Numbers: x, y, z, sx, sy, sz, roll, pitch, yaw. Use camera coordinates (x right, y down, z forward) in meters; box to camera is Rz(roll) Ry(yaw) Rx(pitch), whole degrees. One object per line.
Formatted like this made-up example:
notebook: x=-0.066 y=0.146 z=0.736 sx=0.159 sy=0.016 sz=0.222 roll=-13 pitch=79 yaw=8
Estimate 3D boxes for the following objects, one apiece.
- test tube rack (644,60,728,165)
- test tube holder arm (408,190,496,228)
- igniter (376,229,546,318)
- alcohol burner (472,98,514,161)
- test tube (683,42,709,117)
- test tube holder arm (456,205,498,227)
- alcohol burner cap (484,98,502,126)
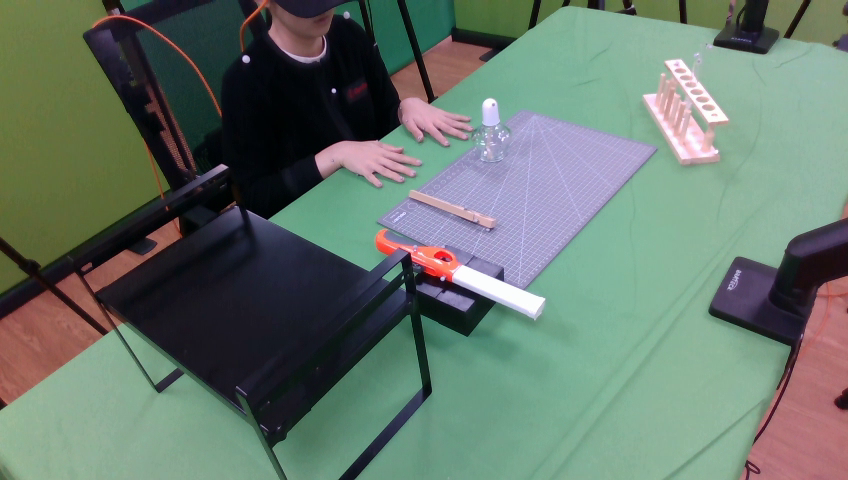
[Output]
test tube rack: x=0.486 y=-0.246 z=1.139 sx=0.067 sy=0.085 sz=0.241 roll=-5 pitch=41 yaw=4
test tube holder arm: x=0.045 y=-0.055 z=1.029 sx=0.177 sy=0.015 sz=0.013 roll=22 pitch=12 yaw=30
igniter: x=0.040 y=0.041 z=0.845 sx=0.274 sy=0.025 sz=0.057 roll=22 pitch=46 yaw=27
alcohol burner: x=0.127 y=-0.208 z=1.123 sx=0.078 sy=0.119 sz=0.077 roll=-5 pitch=39 yaw=5
test tube: x=0.499 y=-0.292 z=1.115 sx=0.017 sy=0.151 sz=0.017 roll=-3 pitch=44 yaw=3
test tube holder arm: x=0.084 y=-0.041 z=1.011 sx=0.087 sy=0.015 sz=0.010 roll=22 pitch=12 yaw=32
alcohol burner cap: x=0.124 y=-0.236 z=1.102 sx=0.034 sy=0.048 sz=0.033 roll=-6 pitch=39 yaw=5
